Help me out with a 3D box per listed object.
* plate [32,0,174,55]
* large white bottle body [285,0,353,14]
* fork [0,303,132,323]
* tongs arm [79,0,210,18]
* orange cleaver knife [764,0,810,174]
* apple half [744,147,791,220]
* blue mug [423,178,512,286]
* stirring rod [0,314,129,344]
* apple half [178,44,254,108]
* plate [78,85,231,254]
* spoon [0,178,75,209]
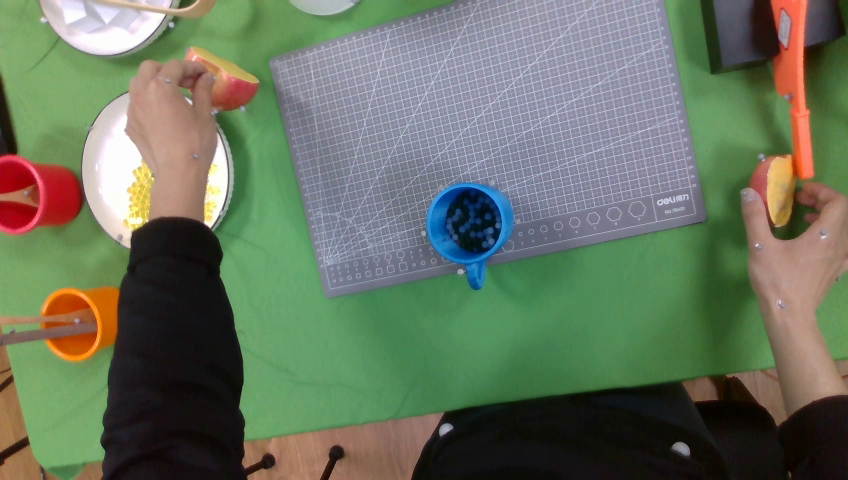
[{"bbox_3d":[-0.393,-0.334,0.751,0.207,0.039,0.208,1,96,12],"label":"plate"},{"bbox_3d":[-0.138,-0.323,0.624,0.130,0.185,0.130,1,95,12],"label":"large white bottle body"},{"bbox_3d":[-0.481,0.096,0.756,0.208,0.018,0.028,1,95,-32],"label":"fork"},{"bbox_3d":[-0.434,-0.315,0.729,0.383,0.026,0.051,17,96,12],"label":"tongs arm"},{"bbox_3d":[0.352,-0.166,0.590,0.012,0.076,0.213,-16,118,12],"label":"orange cleaver knife"},{"bbox_3d":[0.346,-0.058,0.618,0.032,0.082,0.081,9,99,47],"label":"apple half"},{"bbox_3d":[0.051,-0.008,0.655,0.082,0.106,0.116,-4,95,12],"label":"blue mug"},{"bbox_3d":[-0.468,0.114,0.758,0.177,0.006,0.014,-7,83,-28],"label":"stirring rod"},{"bbox_3d":[-0.239,-0.179,0.688,0.081,0.074,0.053,29,105,-5],"label":"apple half"},{"bbox_3d":[-0.335,-0.087,0.765,0.208,0.038,0.209,1,96,12],"label":"plate"},{"bbox_3d":[-0.549,-0.052,0.759,0.194,0.021,0.041,-8,94,-31],"label":"spoon"}]
